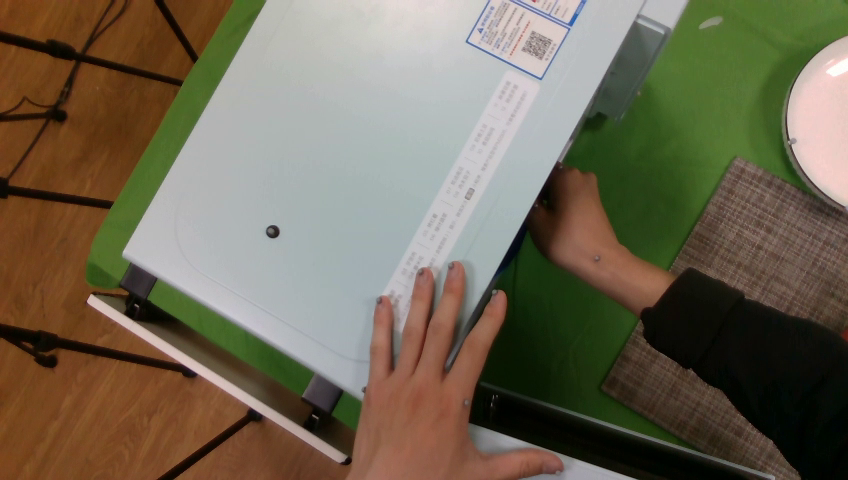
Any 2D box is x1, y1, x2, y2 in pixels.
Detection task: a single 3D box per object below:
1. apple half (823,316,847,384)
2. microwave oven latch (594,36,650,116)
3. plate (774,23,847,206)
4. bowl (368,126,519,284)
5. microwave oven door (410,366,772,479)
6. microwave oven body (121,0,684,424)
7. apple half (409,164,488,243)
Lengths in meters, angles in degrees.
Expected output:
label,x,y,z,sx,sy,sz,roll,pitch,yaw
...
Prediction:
label,x,y,z,sx,sy,sz,roll,pitch,yaw
apple half,0.437,0.109,0.613,0.053,0.075,0.080,10,89,13
microwave oven latch,0.218,-0.179,0.669,0.030,0.029,0.079,29,89,8
plate,0.482,-0.132,0.652,0.207,0.039,0.207,-1,85,6
bowl,0.027,-0.033,0.612,0.151,0.077,0.151,0,92,18
microwave oven door,0.175,0.193,0.537,0.355,0.244,0.039,15,86,8
microwave oven body,-0.009,-0.106,0.590,0.325,0.261,0.441,29,89,8
apple half,0.026,-0.033,0.601,0.081,0.032,0.081,1,99,5
